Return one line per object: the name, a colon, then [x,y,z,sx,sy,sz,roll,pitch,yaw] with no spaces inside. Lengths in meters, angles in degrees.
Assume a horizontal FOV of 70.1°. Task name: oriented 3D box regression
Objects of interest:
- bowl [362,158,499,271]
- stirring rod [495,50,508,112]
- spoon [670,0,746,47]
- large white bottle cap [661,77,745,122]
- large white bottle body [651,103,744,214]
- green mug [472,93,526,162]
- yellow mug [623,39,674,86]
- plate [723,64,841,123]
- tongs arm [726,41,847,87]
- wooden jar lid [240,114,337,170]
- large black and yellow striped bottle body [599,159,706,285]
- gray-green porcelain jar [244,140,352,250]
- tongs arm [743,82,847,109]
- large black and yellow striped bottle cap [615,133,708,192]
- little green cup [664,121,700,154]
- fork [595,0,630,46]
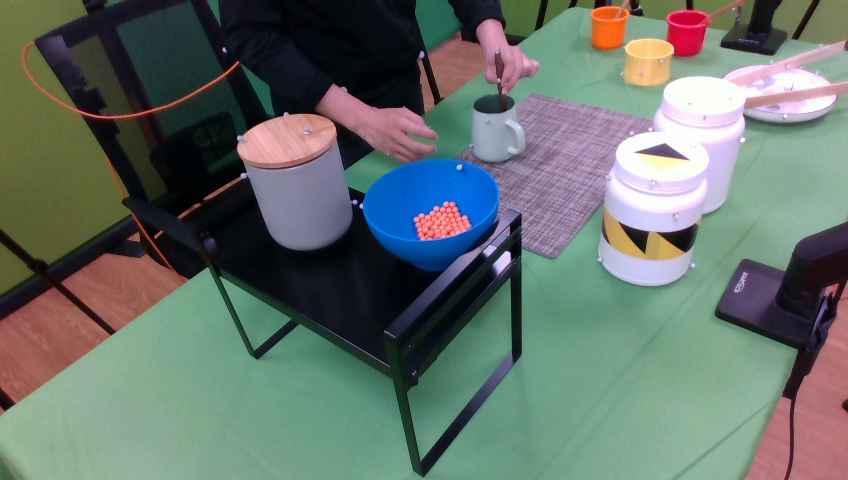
bowl: [0.011,-0.019,0.679,0.151,0.077,0.150,-5,41,5]
stirring rod: [0.143,-0.257,1.089,0.006,0.177,0.014,18,49,34]
spoon: [0.629,-0.485,1.350,0.022,0.193,0.042,48,54,-7]
large white bottle cap: [0.415,-0.210,0.904,0.115,0.018,0.114,-4,40,4]
large white bottle body: [0.426,-0.146,0.958,0.130,0.185,0.130,-4,40,4]
green mug: [0.144,-0.201,1.122,0.093,0.105,0.124,-29,45,-23]
yellow mug: [0.485,-0.398,1.334,0.100,0.064,0.130,-18,41,-10]
plate: [0.695,-0.282,1.189,0.207,0.039,0.206,-4,40,4]
tongs arm: [0.712,-0.332,1.194,0.386,0.026,0.050,-18,44,-16]
wooden jar lid: [-0.149,-0.106,0.673,0.108,0.021,0.108,-6,39,5]
large black and yellow striped bottle body: [0.320,-0.042,0.854,0.131,0.185,0.130,-4,41,4]
gray-green porcelain jar: [-0.144,-0.060,0.714,0.106,0.127,0.105,-4,41,4]
tongs arm: [0.738,-0.282,1.133,0.388,0.028,0.028,-9,46,-5]
large black and yellow striped bottle cap: [0.313,-0.105,0.799,0.115,0.019,0.114,-5,41,5]
little green cup: [0.473,-0.188,1.113,0.061,0.039,0.061,-5,40,5]
fork: [0.480,-0.556,1.452,0.028,0.019,0.207,42,104,40]
